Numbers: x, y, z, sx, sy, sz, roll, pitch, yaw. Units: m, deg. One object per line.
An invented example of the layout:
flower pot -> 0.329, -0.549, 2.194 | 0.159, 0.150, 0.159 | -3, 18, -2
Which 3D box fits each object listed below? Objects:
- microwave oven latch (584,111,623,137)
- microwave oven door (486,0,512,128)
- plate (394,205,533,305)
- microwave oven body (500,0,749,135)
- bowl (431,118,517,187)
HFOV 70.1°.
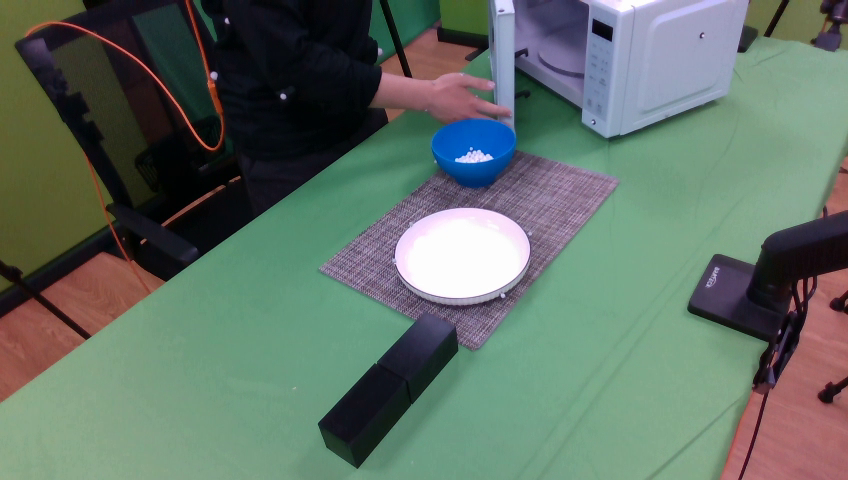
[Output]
microwave oven latch -> 0.337, -0.222, 1.142 | 0.030, 0.029, 0.078 | -21, 42, -14
microwave oven door -> 0.151, -0.402, 1.222 | 0.039, 0.245, 0.354 | -3, 41, 5
plate -> 0.059, 0.025, 0.915 | 0.207, 0.039, 0.206 | -4, 41, 4
microwave oven body -> 0.382, -0.444, 1.246 | 0.327, 0.261, 0.437 | -22, 42, -16
bowl -> 0.090, -0.147, 1.080 | 0.151, 0.077, 0.150 | -4, 41, 4
